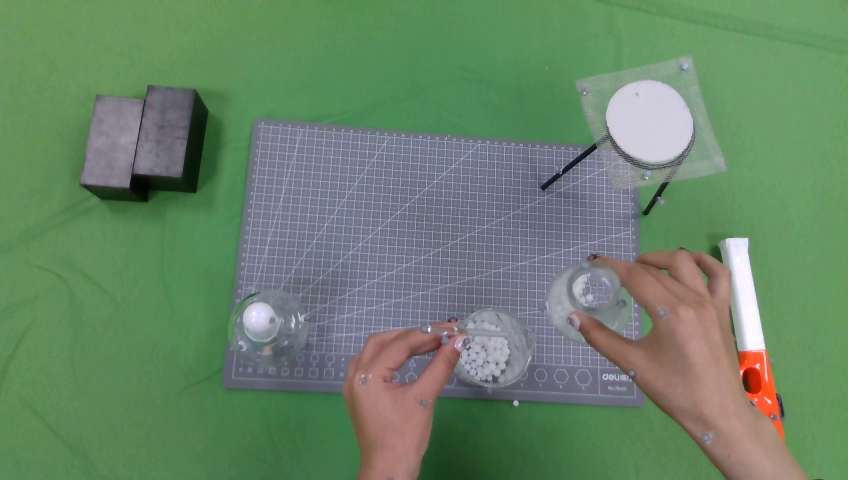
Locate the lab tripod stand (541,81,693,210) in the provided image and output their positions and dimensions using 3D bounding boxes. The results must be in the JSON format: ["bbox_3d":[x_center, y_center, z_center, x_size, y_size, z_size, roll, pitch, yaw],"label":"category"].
[{"bbox_3d":[0.211,-0.098,0.654,0.148,0.132,0.147,1,78,-5],"label":"lab tripod stand"}]

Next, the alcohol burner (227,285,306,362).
[{"bbox_3d":[-0.156,0.080,0.591,0.078,0.119,0.077,2,76,-6],"label":"alcohol burner"}]

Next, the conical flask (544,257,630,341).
[{"bbox_3d":[0.133,0.043,0.491,0.075,0.122,0.075,-2,79,13],"label":"conical flask"}]

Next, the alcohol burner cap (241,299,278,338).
[{"bbox_3d":[-0.152,0.069,0.556,0.034,0.048,0.033,4,69,-11],"label":"alcohol burner cap"}]

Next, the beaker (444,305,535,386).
[{"bbox_3d":[0.061,0.107,0.612,0.084,0.100,0.073,-15,79,-8],"label":"beaker"}]

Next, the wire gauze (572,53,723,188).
[{"bbox_3d":[0.219,-0.117,0.590,0.125,0.011,0.121,-12,80,-8],"label":"wire gauze"}]

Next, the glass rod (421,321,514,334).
[{"bbox_3d":[0.044,0.076,0.517,0.008,0.201,0.008,-4,79,26],"label":"glass rod"}]

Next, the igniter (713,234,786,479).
[{"bbox_3d":[0.360,0.128,0.673,0.057,0.025,0.275,-1,78,-16],"label":"igniter"}]
